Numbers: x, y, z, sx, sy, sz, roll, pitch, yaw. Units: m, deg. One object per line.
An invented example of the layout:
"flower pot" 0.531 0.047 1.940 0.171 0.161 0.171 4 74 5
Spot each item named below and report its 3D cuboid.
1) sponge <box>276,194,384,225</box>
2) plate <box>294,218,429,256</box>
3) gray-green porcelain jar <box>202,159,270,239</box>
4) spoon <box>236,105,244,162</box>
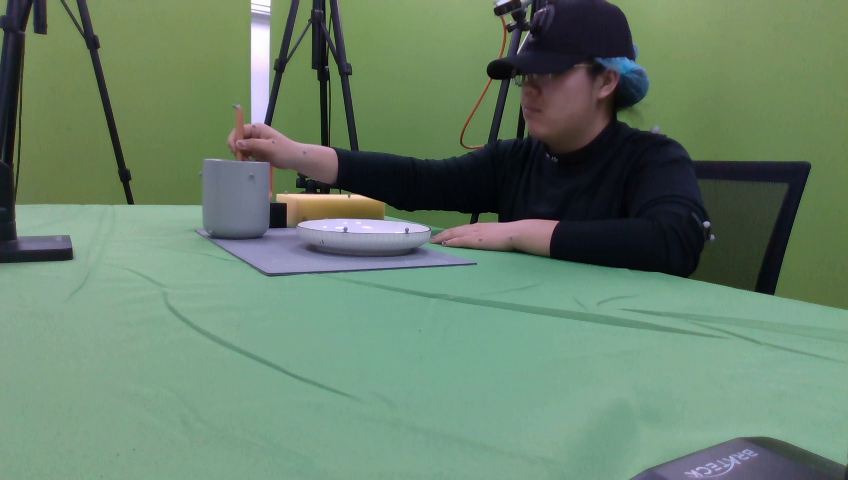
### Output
"sponge" -0.203 -0.067 1.312 0.208 0.061 0.117 -3 9 -35
"plate" -0.096 -0.005 0.936 0.208 0.039 0.207 3 7 0
"gray-green porcelain jar" -0.310 -0.068 0.999 0.106 0.126 0.106 3 8 0
"spoon" -0.308 -0.127 1.003 0.042 0.193 0.021 4 3 -45
